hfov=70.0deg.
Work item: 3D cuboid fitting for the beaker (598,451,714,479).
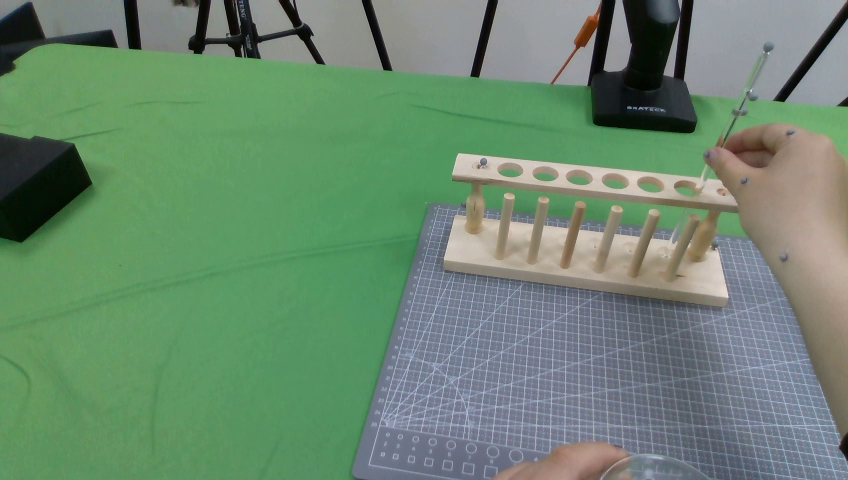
[{"bbox_3d":[0.106,0.168,0.312,0.084,0.101,0.073,-1,42,-9],"label":"beaker"}]

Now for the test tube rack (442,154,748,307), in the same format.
[{"bbox_3d":[0.141,-0.010,0.528,0.242,0.086,0.066,7,43,8],"label":"test tube rack"}]

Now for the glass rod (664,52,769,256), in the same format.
[{"bbox_3d":[0.226,-0.056,0.479,0.008,0.201,0.008,2,45,-2],"label":"glass rod"}]
